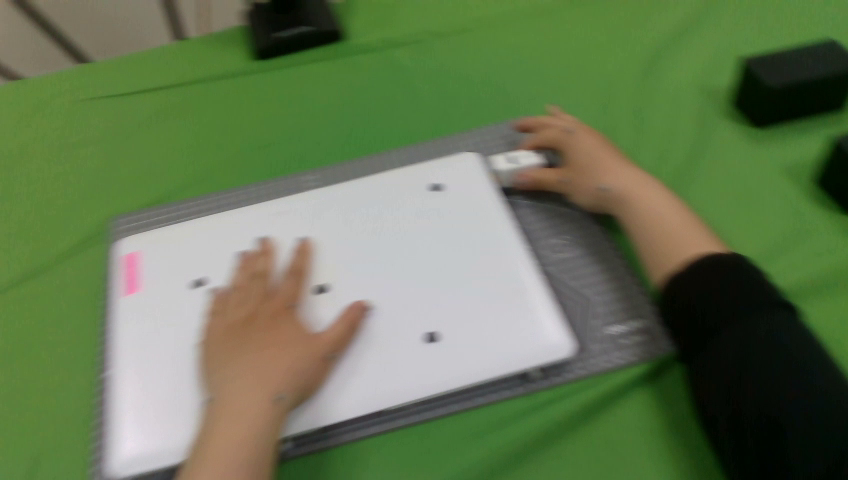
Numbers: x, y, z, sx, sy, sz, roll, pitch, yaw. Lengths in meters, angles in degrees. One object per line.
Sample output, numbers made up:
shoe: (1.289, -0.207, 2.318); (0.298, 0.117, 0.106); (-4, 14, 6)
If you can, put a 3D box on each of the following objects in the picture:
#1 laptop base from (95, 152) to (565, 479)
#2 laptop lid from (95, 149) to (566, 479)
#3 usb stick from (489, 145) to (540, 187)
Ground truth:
laptop base: (-0.089, 0.047, 0.511); (0.355, 0.023, 0.233); (-15, 54, -5)
laptop lid: (-0.089, 0.043, 0.502); (0.357, 0.013, 0.239); (-14, 53, -4)
usb stick: (0.078, -0.068, 0.568); (0.059, 0.027, 0.021); (-15, 44, 2)
